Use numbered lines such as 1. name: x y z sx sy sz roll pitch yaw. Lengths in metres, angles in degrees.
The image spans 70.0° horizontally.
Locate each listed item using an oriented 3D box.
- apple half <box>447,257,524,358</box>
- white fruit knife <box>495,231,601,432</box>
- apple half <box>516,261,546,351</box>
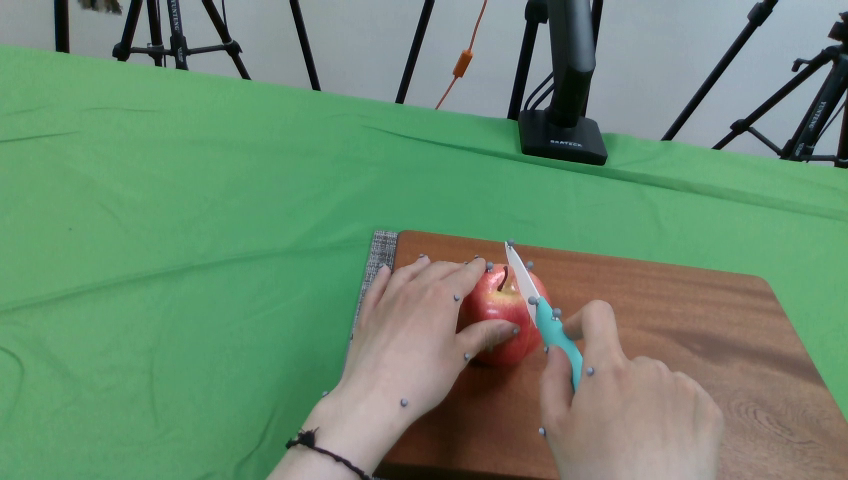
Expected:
1. apple half: 0.046 0.058 0.502 0.053 0.075 0.080 -5 47 -10
2. white fruit knife: 0.081 0.049 0.442 0.016 0.027 0.205 4 31 -16
3. apple half: 0.084 0.056 0.511 0.033 0.082 0.080 -2 41 -11
